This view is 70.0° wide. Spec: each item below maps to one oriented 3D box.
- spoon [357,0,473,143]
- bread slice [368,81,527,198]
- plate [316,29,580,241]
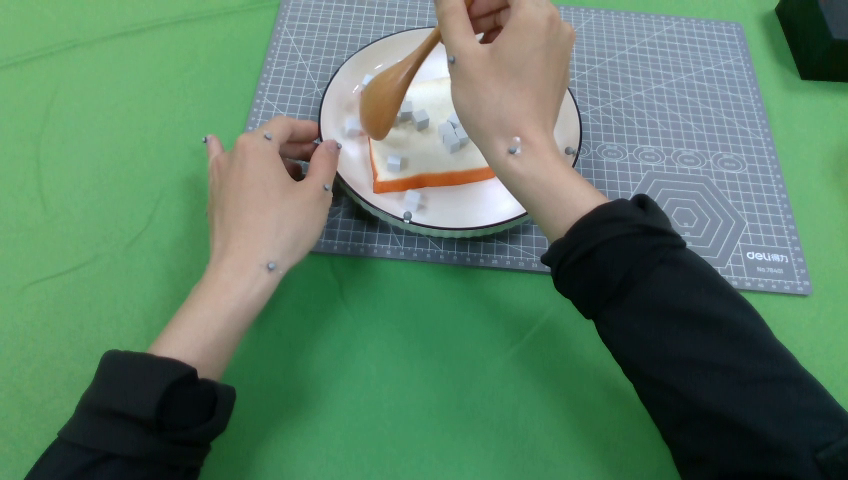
[{"bbox_3d":[0.005,-0.138,0.406,0.022,0.194,0.041,-2,55,-48],"label":"spoon"},{"bbox_3d":[0.017,-0.088,0.495,0.132,0.019,0.104,-9,61,-6],"label":"bread slice"},{"bbox_3d":[0.019,-0.085,0.489,0.209,0.038,0.207,2,60,-3],"label":"plate"}]
